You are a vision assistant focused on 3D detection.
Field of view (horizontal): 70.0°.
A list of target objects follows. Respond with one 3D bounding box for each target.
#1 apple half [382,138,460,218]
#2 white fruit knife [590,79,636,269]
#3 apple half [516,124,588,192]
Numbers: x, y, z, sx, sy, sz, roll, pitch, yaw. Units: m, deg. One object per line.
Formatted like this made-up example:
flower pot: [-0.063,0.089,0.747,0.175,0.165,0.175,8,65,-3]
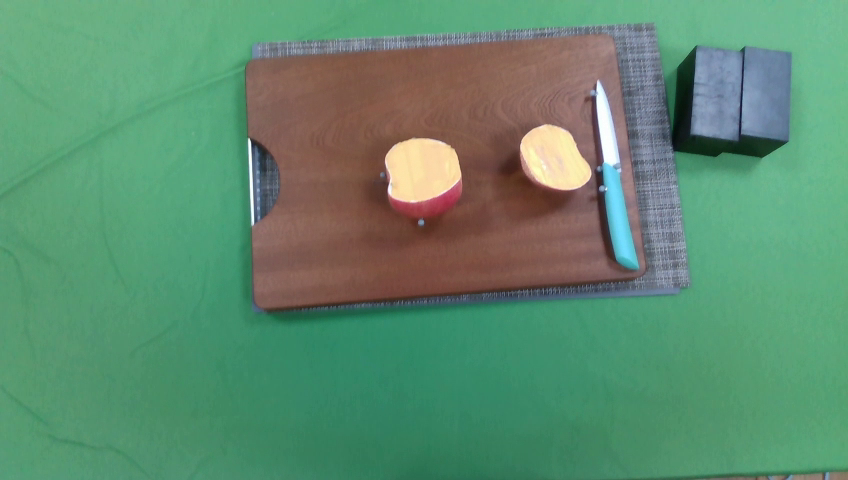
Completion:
apple half: [-0.002,-0.055,0.603,0.075,0.054,0.080,-14,57,0]
white fruit knife: [0.192,-0.072,0.630,0.027,0.016,0.206,0,76,-30]
apple half: [0.123,-0.076,0.616,0.082,0.033,0.080,10,62,-18]
